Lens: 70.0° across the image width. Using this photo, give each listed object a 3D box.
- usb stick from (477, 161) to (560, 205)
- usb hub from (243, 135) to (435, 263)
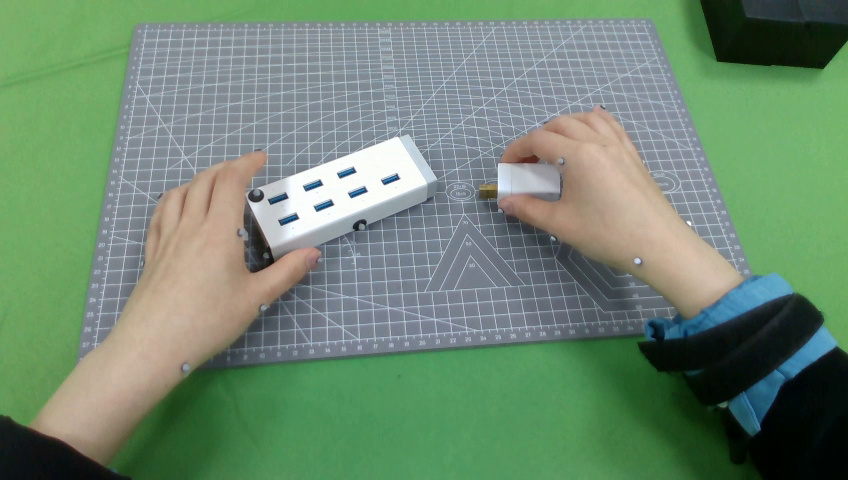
[{"bbox_3d":[0.067,-0.041,0.437,0.059,0.022,0.027,-5,64,1],"label":"usb stick"},{"bbox_3d":[-0.058,-0.032,0.425,0.125,0.025,0.049,-23,64,-17],"label":"usb hub"}]
